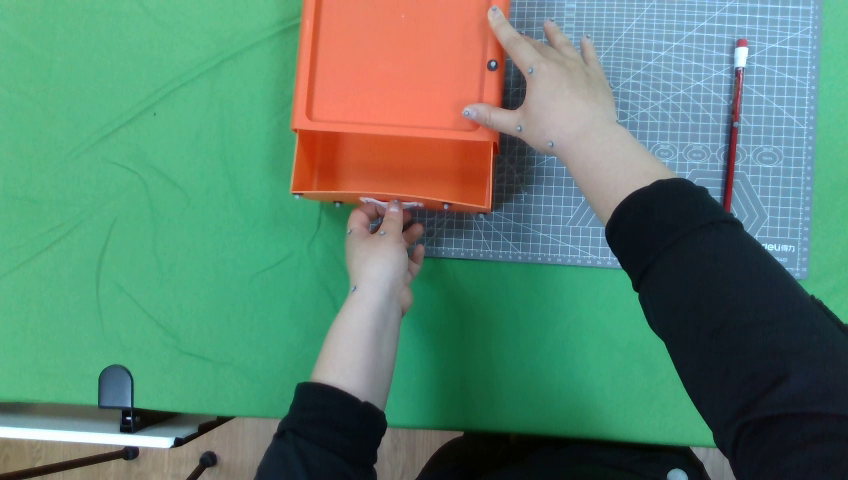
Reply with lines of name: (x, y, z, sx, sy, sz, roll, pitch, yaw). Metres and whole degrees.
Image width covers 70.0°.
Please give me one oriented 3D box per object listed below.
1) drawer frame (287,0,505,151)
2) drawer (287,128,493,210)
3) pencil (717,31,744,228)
drawer frame: (-0.023, -0.200, 0.603, 0.201, 0.083, 0.213, 3, 89, 8)
drawer: (-0.025, -0.139, 0.603, 0.194, 0.073, 0.211, 4, 87, 7)
pencil: (0.303, -0.109, 0.601, 0.012, 0.012, 0.194, 5, 91, 7)
